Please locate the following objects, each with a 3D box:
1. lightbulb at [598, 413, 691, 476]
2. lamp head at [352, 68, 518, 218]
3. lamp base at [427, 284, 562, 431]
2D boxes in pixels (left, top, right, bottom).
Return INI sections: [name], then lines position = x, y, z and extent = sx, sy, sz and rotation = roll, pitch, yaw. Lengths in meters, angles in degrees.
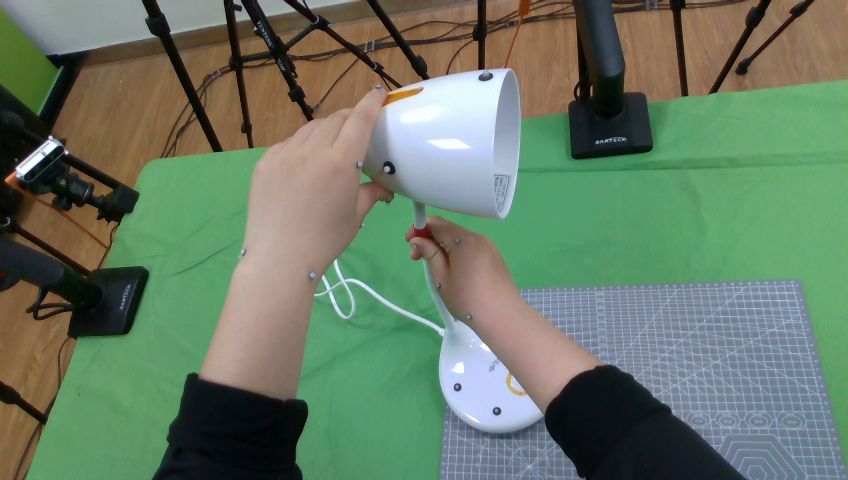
[lightbulb]
position = 0.249, 0.227, 0.692
extent = 0.107, 0.060, 0.059
rotation = 16, 64, 42
[lamp head]
position = 0.009, -0.072, 0.472
extent = 0.122, 0.113, 0.111
rotation = 0, 60, 21
[lamp base]
position = 0.068, 0.124, 0.728
extent = 0.178, 0.182, 0.160
rotation = 21, 67, 29
